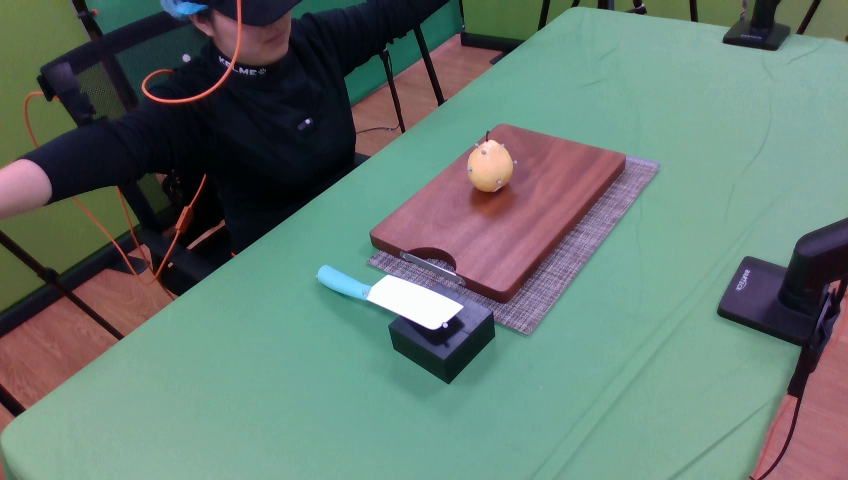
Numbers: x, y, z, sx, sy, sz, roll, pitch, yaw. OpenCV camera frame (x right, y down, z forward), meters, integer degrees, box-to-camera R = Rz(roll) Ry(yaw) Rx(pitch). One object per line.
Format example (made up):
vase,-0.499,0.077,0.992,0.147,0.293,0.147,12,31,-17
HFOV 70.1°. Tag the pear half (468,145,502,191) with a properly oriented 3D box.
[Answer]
pear half,0.097,-0.116,1.007,0.070,0.088,0.031,28,52,26

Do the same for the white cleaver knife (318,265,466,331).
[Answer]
white cleaver knife,-0.056,0.075,0.871,0.284,0.021,0.066,17,42,43

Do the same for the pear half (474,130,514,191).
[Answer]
pear half,0.119,-0.142,1.020,0.076,0.110,0.056,26,51,30
